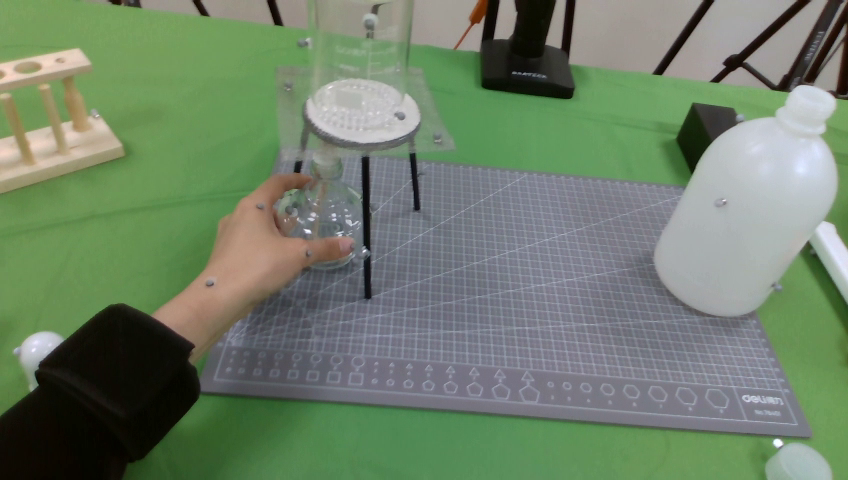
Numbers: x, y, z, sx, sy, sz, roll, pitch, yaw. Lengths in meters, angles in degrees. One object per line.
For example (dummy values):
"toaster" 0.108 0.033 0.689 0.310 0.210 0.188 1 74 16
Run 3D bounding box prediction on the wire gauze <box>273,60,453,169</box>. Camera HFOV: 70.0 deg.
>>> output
"wire gauze" -0.050 -0.101 0.456 0.122 0.011 0.123 -6 50 -12

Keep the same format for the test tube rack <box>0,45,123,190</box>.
"test tube rack" -0.403 -0.088 0.517 0.242 0.086 0.066 -26 54 -31

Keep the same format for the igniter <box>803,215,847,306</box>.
"igniter" 0.392 0.074 0.524 0.057 0.025 0.274 14 43 -10

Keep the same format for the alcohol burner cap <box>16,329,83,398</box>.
"alcohol burner cap" -0.250 0.079 0.401 0.034 0.048 0.033 6 44 -6

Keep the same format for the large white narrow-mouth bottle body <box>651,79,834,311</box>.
"large white narrow-mouth bottle body" 0.264 -0.037 0.492 0.102 0.196 0.101 4 44 -4

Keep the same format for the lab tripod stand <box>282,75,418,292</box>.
"lab tripod stand" -0.054 -0.053 0.500 0.148 0.132 0.147 6 45 -6

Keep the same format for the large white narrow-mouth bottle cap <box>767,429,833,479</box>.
"large white narrow-mouth bottle cap" 0.263 0.154 0.425 0.038 0.024 0.037 4 44 -4

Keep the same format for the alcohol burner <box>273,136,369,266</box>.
"alcohol burner" -0.083 -0.036 0.492 0.078 0.120 0.077 6 42 -5

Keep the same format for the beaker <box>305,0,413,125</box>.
"beaker" -0.049 -0.139 0.424 0.084 0.101 0.073 1 46 -9
